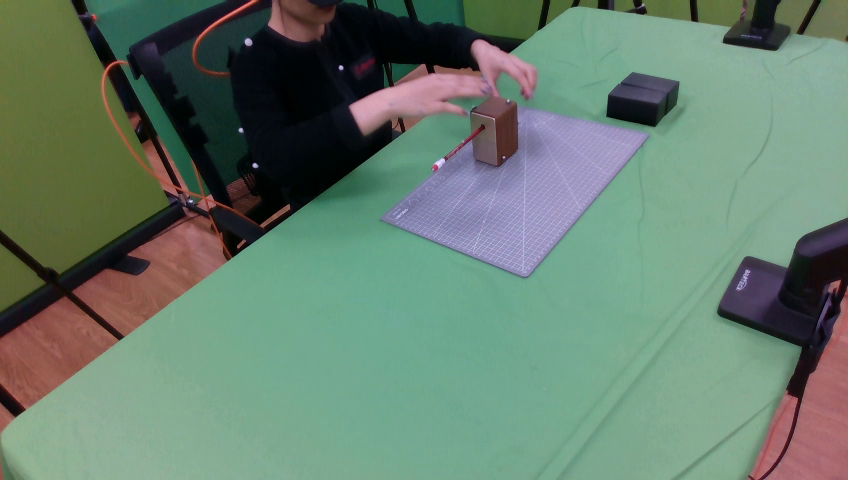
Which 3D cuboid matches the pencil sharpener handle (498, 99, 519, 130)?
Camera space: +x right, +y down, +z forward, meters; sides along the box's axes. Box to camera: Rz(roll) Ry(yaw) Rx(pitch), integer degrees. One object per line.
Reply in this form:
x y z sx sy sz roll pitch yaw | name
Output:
0.165 -0.243 1.148 0.035 0.068 0.031 22 49 35 | pencil sharpener handle

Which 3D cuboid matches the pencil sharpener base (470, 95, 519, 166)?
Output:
0.134 -0.205 1.128 0.061 0.107 0.077 23 50 33 | pencil sharpener base

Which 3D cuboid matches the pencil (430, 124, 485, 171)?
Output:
0.075 -0.175 1.066 0.012 0.012 0.194 25 52 34 | pencil
